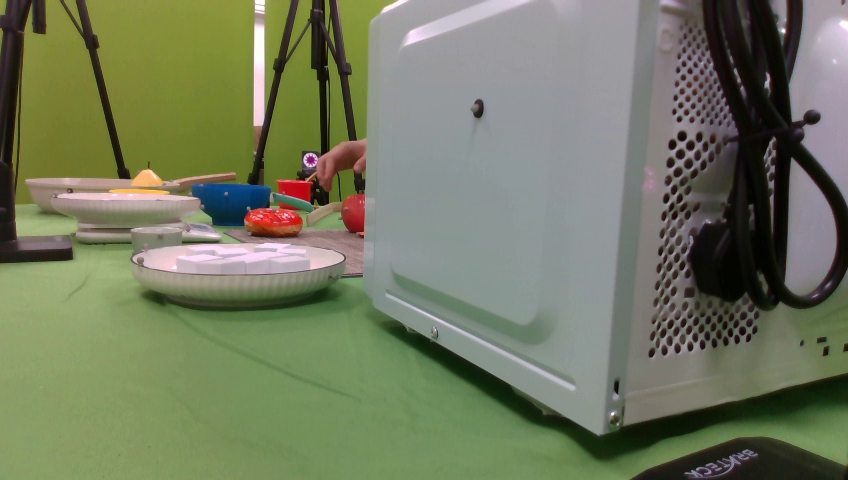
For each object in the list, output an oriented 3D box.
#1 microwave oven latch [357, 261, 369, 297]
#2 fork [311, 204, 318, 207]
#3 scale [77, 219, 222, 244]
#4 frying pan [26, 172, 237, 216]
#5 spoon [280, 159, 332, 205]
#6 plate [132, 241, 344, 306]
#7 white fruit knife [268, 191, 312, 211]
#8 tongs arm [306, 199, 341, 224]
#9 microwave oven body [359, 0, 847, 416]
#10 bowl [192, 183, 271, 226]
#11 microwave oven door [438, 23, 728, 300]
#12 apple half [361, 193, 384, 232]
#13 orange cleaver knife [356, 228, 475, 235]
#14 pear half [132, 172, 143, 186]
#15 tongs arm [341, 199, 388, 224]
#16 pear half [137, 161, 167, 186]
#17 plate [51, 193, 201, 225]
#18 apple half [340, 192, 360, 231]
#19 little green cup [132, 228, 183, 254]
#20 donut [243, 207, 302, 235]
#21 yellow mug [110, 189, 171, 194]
[{"bbox_3d":[-0.019,0.033,0.530,0.079,0.029,0.030,-1,7,-26],"label":"microwave oven latch"},{"bbox_3d":[-0.356,-0.105,1.526,0.208,0.018,0.028,16,-6,-41],"label":"fork"},{"bbox_3d":[-0.434,-0.018,0.963,0.202,0.031,0.148,-1,9,-27],"label":"scale"},{"bbox_3d":[-0.624,-0.118,1.387,0.305,0.102,0.490,8,17,32],"label":"frying pan"},{"bbox_3d":[-0.317,-0.159,1.640,0.194,0.022,0.041,-49,32,-20],"label":"spoon"},{"bbox_3d":[-0.187,0.033,0.625,0.208,0.039,0.207,2,7,0],"label":"plate"},{"bbox_3d":[-0.364,-0.105,1.464,0.208,0.027,0.016,15,0,-34],"label":"white fruit knife"},{"bbox_3d":[-0.234,-0.070,1.414,0.028,0.028,0.387,-5,8,1],"label":"tongs arm"},{"bbox_3d":[0.211,-0.047,0.474,0.444,0.260,0.324,-1,7,-28],"label":"microwave oven body"},{"bbox_3d":[-0.382,-0.071,1.202,0.151,0.077,0.151,3,7,0],"label":"bowl"},{"bbox_3d":[0.181,-0.073,0.621,0.358,0.243,0.039,-2,8,-29],"label":"microwave oven door"},{"bbox_3d":[-0.092,-0.053,1.136,0.033,0.081,0.081,-1,7,13],"label":"apple half"},{"bbox_3d":[-0.017,-0.015,1.080,0.211,0.012,0.077,0,1,-2],"label":"orange cleaver knife"},{"bbox_3d":[-0.638,-0.113,1.361,0.031,0.088,0.070,5,11,4],"label":"pear half"},{"bbox_3d":[-0.148,-0.071,1.429,0.051,0.026,0.383,-3,9,-15],"label":"tongs arm"},{"bbox_3d":[-0.602,-0.120,1.354,0.056,0.110,0.076,4,11,6],"label":"pear half"},{"bbox_3d":[-0.460,-0.050,0.945,0.209,0.038,0.209,2,7,0],"label":"plate"},{"bbox_3d":[-0.130,-0.054,1.143,0.053,0.074,0.081,0,10,11],"label":"apple half"},{"bbox_3d":[-0.342,0.006,0.779,0.061,0.038,0.061,2,8,0],"label":"little green cup"},{"bbox_3d":[-0.261,-0.032,1.043,0.099,0.048,0.099,4,9,0],"label":"donut"},{"bbox_3d":[-0.519,-0.055,1.080,0.099,0.064,0.131,7,9,26],"label":"yellow mug"}]
